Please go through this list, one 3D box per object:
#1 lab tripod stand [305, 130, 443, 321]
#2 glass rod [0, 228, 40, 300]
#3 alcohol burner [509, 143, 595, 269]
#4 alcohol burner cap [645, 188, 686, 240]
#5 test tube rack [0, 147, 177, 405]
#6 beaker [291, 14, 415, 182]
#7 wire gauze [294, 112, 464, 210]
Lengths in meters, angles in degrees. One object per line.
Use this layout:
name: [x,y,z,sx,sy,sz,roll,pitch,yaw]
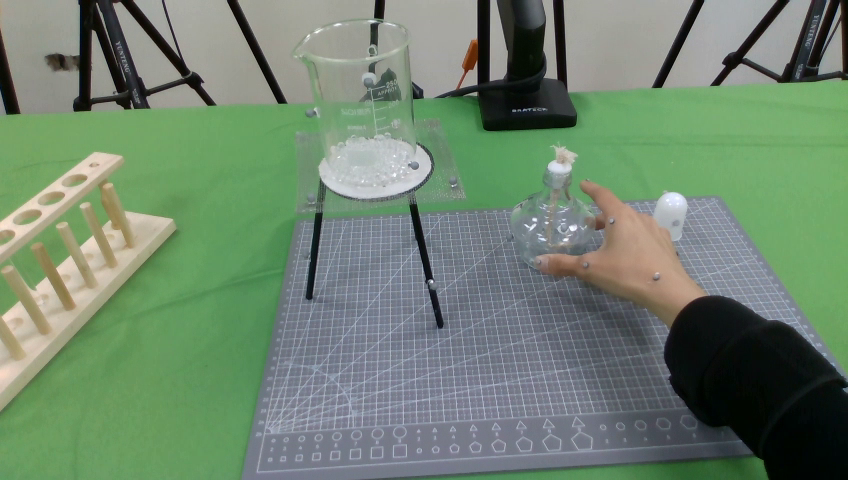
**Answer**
lab tripod stand: [-0.037,-0.012,0.511,0.148,0.133,0.147,-2,42,2]
glass rod: [-0.356,-0.030,0.486,0.008,0.201,0.008,-5,34,4]
alcohol burner: [0.117,-0.034,0.545,0.078,0.120,0.077,-1,38,2]
alcohol burner cap: [0.236,-0.028,0.588,0.034,0.048,0.033,-1,40,2]
test tube rack: [-0.326,0.020,0.528,0.066,0.086,0.241,10,41,14]
beaker: [-0.046,-0.100,0.437,0.084,0.101,0.073,-7,40,-4]
wire gauze: [-0.040,-0.062,0.469,0.125,0.011,0.120,-9,38,-3]
